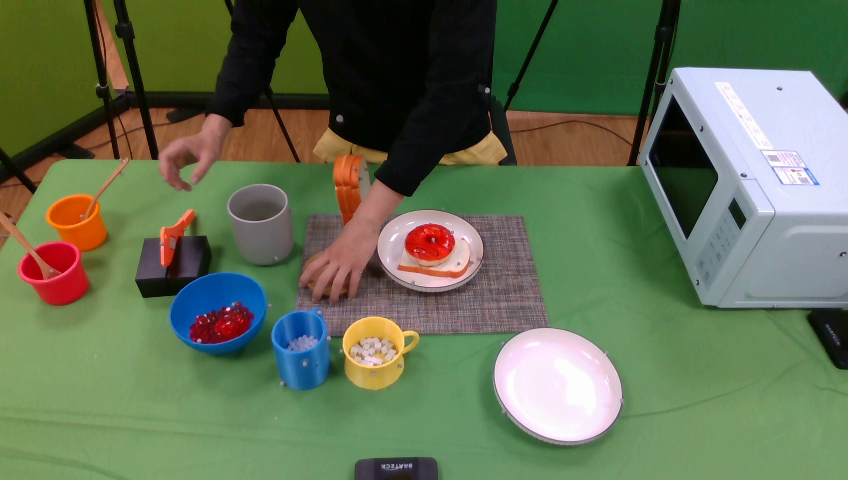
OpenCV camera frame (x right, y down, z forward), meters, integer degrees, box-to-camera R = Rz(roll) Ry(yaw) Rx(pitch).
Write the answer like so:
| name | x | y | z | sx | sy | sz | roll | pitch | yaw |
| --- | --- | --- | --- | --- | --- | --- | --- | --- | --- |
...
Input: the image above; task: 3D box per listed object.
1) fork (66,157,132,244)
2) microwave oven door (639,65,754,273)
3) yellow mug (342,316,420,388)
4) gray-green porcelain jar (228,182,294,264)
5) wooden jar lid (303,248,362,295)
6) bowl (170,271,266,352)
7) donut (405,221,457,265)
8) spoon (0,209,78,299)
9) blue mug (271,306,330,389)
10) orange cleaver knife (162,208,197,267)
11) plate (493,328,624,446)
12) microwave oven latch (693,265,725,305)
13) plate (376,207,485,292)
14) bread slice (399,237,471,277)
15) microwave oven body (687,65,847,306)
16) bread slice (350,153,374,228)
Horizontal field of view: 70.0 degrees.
| name | x | y | z | sx | sy | sz | roll | pitch | yaw |
| --- | --- | --- | --- | --- | --- | --- | --- | --- | --- |
| fork | -0.608 | -0.074 | 1.132 | 0.207 | 0.019 | 0.028 | -52 | 47 | 10 |
| microwave oven door | 0.522 | -0.147 | 1.192 | 0.039 | 0.245 | 0.353 | 0 | 47 | -3 |
| yellow mug | -0.068 | 0.177 | 0.990 | 0.131 | 0.064 | 0.099 | -15 | 50 | -19 |
| gray-green porcelain jar | -0.299 | -0.026 | 1.125 | 0.106 | 0.127 | 0.105 | 2 | 46 | -2 |
| wooden jar lid | -0.169 | 0.061 | 1.121 | 0.108 | 0.021 | 0.107 | 2 | 46 | -2 |
| bowl | -0.333 | 0.132 | 1.006 | 0.151 | 0.077 | 0.150 | 2 | 46 | -2 |
| donut | 0.013 | 0.004 | 1.136 | 0.099 | 0.048 | 0.098 | 0 | 46 | 0 |
| spoon | -0.668 | 0.022 | 1.040 | 0.041 | 0.021 | 0.194 | -41 | 105 | -29 |
| blue mug | -0.188 | 0.163 | 0.969 | 0.082 | 0.106 | 0.116 | 15 | 47 | 10 |
| orange cleaver knife | -0.454 | -0.010 | 1.129 | 0.012 | 0.077 | 0.210 | -1 | 17 | -6 |
| plate | 0.213 | 0.236 | 0.974 | 0.208 | 0.039 | 0.206 | 2 | 46 | -2 |
| microwave oven latch | 0.523 | 0.082 | 1.115 | 0.030 | 0.029 | 0.078 | 2 | 46 | -1 |
| plate | 0.012 | 0.021 | 1.159 | 0.209 | 0.038 | 0.208 | 2 | 47 | -2 |
| bread slice | 0.025 | 0.025 | 1.161 | 0.131 | 0.019 | 0.104 | 7 | 47 | 8 |
| microwave oven body | 0.669 | -0.111 | 1.176 | 0.326 | 0.261 | 0.439 | 0 | 46 | -3 |
| bread slice | -0.123 | -0.104 | 1.207 | 0.018 | 0.135 | 0.106 | -1 | 48 | 7 |
